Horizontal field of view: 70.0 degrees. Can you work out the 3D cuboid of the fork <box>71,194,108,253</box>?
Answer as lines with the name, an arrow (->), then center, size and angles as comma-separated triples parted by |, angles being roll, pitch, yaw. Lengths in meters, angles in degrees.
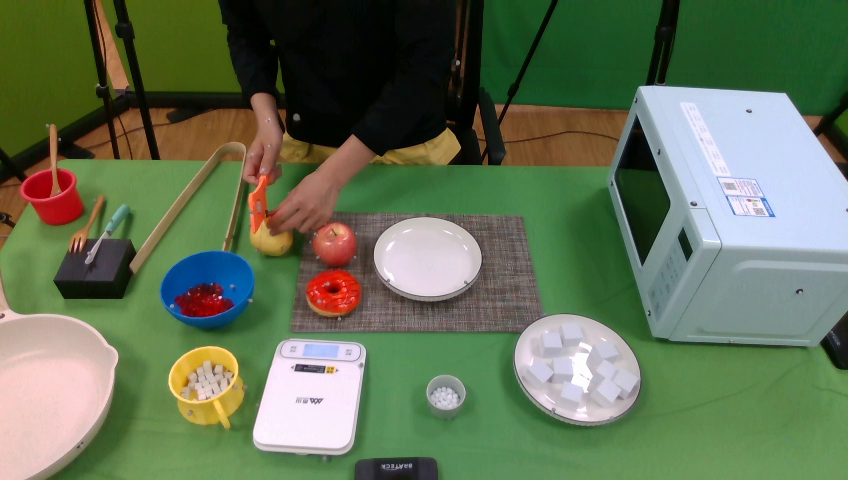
fork -> -0.634, -0.036, 1.158 | 0.028, 0.019, 0.206 | -8, 31, -8

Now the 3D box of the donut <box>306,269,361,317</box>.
donut -> -0.160, 0.094, 1.075 | 0.099, 0.048, 0.098 | 4, 46, -3

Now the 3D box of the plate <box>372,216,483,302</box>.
plate -> 0.006, 0.038, 1.145 | 0.209, 0.038, 0.208 | 2, 46, -2

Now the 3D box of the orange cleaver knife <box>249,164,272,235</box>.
orange cleaver knife -> -0.296, -0.079, 1.104 | 0.012, 0.077, 0.210 | -1, 27, -4

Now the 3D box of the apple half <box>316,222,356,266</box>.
apple half -> -0.156, 0.015, 1.132 | 0.053, 0.075, 0.080 | 28, 48, 18

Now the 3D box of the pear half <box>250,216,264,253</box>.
pear half -> -0.312, -0.014, 1.142 | 0.031, 0.088, 0.070 | 1, 52, -4

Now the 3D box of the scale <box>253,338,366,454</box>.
scale -> -0.175, 0.236, 0.951 | 0.149, 0.032, 0.199 | 5, 45, -1

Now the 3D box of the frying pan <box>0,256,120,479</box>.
frying pan -> -0.647, 0.164, 0.936 | 0.307, 0.103, 0.485 | -19, 58, -22

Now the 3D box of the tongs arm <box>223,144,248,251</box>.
tongs arm -> -0.397, -0.073, 1.232 | 0.051, 0.027, 0.382 | -3, 45, 1

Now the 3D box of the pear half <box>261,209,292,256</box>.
pear half -> -0.276, -0.018, 1.135 | 0.056, 0.110, 0.076 | 1, 52, -6

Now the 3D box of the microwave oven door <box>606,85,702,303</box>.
microwave oven door -> 0.422, -0.094, 1.140 | 0.039, 0.245, 0.353 | 2, 46, -1

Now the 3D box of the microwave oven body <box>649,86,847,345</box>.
microwave oven body -> 0.567, -0.053, 1.118 | 0.326, 0.261, 0.439 | 2, 45, -1

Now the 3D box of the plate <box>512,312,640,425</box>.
plate -> 0.246, 0.213, 0.999 | 0.208, 0.039, 0.206 | 2, 46, -2

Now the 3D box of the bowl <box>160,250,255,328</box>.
bowl -> -0.362, 0.098, 1.040 | 0.151, 0.077, 0.150 | 2, 45, -2

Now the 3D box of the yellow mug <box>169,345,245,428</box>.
yellow mug -> -0.322, 0.230, 0.922 | 0.100, 0.064, 0.130 | -24, 53, -25

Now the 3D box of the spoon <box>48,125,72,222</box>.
spoon -> -0.718, -0.131, 1.189 | 0.041, 0.021, 0.193 | -3, 90, -7

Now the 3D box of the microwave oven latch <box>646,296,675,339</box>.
microwave oven latch -> 0.412, 0.134, 1.061 | 0.030, 0.029, 0.078 | 4, 45, 1

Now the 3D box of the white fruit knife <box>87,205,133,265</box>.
white fruit knife -> -0.584, -0.013, 1.129 | 0.016, 0.027, 0.206 | -1, 32, -4

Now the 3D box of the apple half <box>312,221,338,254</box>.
apple half -> -0.190, -0.002, 1.144 | 0.032, 0.081, 0.081 | 27, 50, 17

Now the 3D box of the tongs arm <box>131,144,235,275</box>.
tongs arm -> -0.484, -0.076, 1.236 | 0.028, 0.028, 0.385 | 5, 45, 14

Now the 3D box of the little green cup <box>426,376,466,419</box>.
little green cup -> 0.033, 0.248, 0.950 | 0.061, 0.039, 0.061 | 2, 46, -2
